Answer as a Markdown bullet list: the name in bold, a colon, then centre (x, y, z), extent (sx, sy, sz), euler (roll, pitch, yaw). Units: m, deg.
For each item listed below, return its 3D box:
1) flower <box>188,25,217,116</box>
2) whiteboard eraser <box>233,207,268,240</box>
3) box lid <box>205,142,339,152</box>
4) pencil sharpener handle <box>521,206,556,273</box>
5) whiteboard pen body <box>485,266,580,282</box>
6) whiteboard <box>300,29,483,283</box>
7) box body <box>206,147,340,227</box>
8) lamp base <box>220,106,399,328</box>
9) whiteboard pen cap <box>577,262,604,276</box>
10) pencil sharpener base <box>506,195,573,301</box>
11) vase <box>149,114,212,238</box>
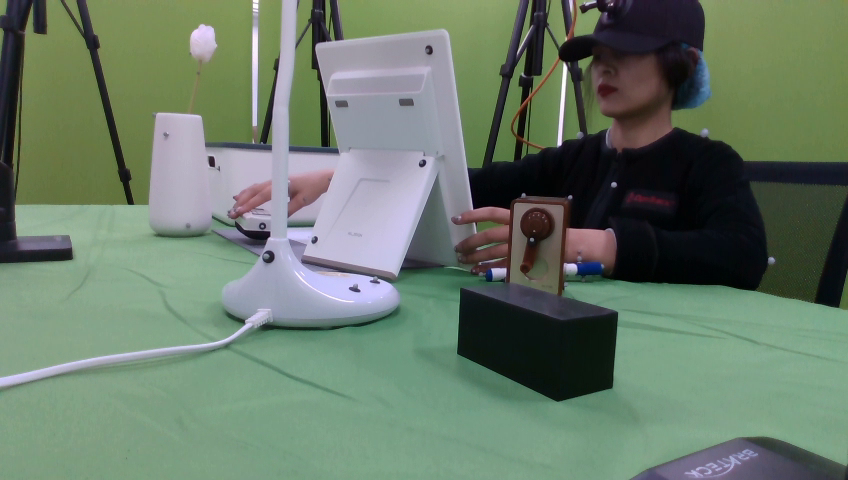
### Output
- **flower**: centre (-0.394, -0.189, 1.012), extent (0.044, 0.361, 0.038), euler (-1, -13, 28)
- **whiteboard eraser**: centre (-0.264, -0.027, 0.953), extent (0.056, 0.042, 0.112), euler (-1, 11, -26)
- **box lid**: centre (-0.270, -0.196, 1.311), extent (0.373, 0.015, 0.262), euler (-2, 9, -30)
- **pencil sharpener handle**: centre (0.111, 0.000, 0.613), extent (0.036, 0.067, 0.031), euler (13, 10, 14)
- **whiteboard pen body**: centre (0.144, 0.041, 0.738), extent (0.141, 0.017, 0.017), euler (-2, 8, -10)
- **whiteboard**: centre (-0.074, -0.082, 0.742), extent (0.216, 0.305, 0.144), euler (9, 30, 38)
- **box body**: centre (-0.276, -0.122, 1.320), extent (0.366, 0.160, 0.253), euler (-2, 9, -30)
- **lamp base**: centre (-0.102, -0.023, 0.531), extent (0.160, 0.180, 0.179), euler (4, 10, 10)
- **whiteboard pen cap**: centre (0.203, 0.036, 0.748), extent (0.033, 0.018, 0.018), euler (-3, 8, -7)
- **pencil sharpener base**: centre (0.127, 0.007, 0.663), extent (0.061, 0.107, 0.077), euler (5, 8, 15)
- **vase**: centre (-0.405, -0.106, 1.005), extent (0.098, 0.200, 0.098), euler (2, 6, 0)
